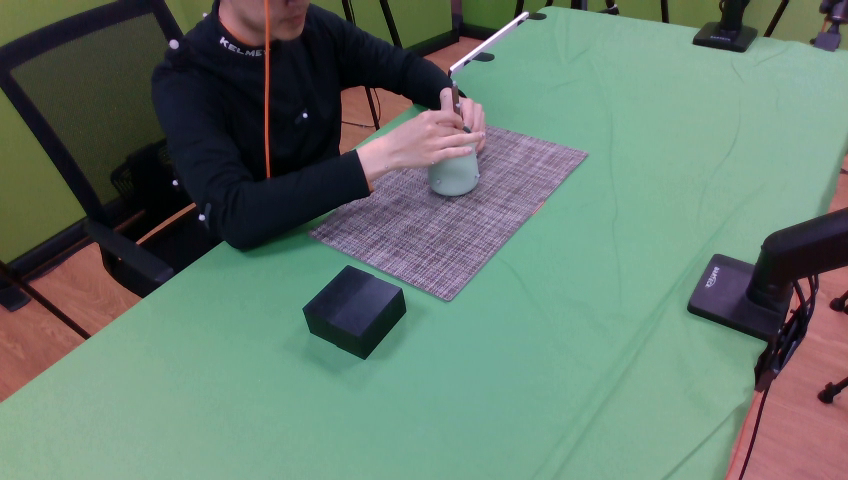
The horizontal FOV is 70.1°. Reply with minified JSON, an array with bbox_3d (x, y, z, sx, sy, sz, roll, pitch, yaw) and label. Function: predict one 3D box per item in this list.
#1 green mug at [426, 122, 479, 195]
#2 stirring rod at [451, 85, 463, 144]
[{"bbox_3d":[0.053,-0.151,1.067,0.092,0.105,0.125,5,42,15],"label":"green mug"},{"bbox_3d":[0.059,-0.177,1.016,0.006,0.177,0.014,18,45,31],"label":"stirring rod"}]
